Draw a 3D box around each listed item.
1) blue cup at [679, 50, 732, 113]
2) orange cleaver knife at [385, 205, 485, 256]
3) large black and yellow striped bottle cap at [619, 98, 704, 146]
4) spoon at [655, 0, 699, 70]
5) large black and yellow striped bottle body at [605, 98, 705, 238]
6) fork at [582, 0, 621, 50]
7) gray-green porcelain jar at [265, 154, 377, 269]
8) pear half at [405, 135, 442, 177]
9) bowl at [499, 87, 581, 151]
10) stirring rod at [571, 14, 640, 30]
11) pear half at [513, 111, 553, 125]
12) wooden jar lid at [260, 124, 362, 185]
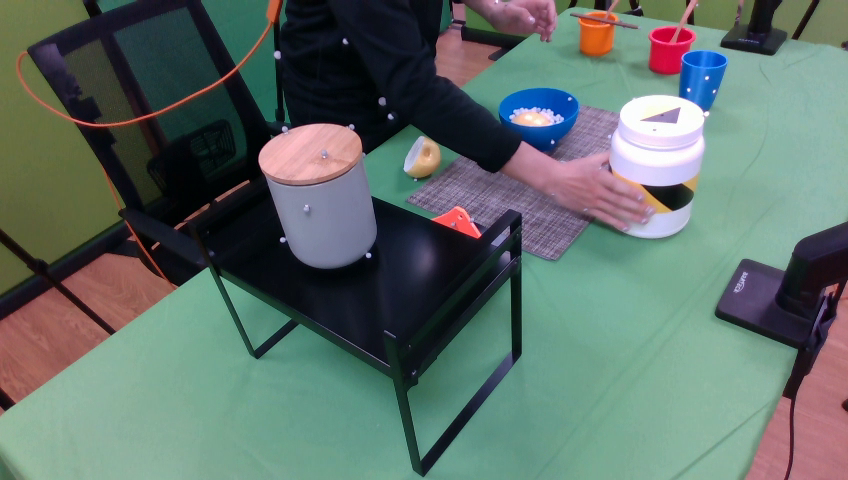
[{"bbox_3d":[0.546,-0.309,1.194,0.092,0.100,0.092,-4,39,4],"label":"blue cup"},{"bbox_3d":[0.012,-0.010,0.942,0.012,0.077,0.210,-36,19,-35],"label":"orange cleaver knife"},{"bbox_3d":[0.341,-0.172,0.873,0.115,0.019,0.114,-4,39,4],"label":"large black and yellow striped bottle cap"},{"bbox_3d":[0.567,-0.463,1.337,0.041,0.022,0.193,30,97,38],"label":"spoon"},{"bbox_3d":[0.352,-0.110,0.927,0.131,0.185,0.130,-5,41,4],"label":"large black and yellow striped bottle body"},{"bbox_3d":[0.446,-0.539,1.438,0.207,0.019,0.028,-57,36,12],"label":"fork"},{"bbox_3d":[-0.112,-0.039,0.686,0.106,0.127,0.105,-4,40,4],"label":"gray-green porcelain jar"},{"bbox_3d":[-0.004,-0.151,1.136,0.076,0.056,0.109,-62,23,-8],"label":"pear half"},{"bbox_3d":[0.220,-0.223,1.156,0.151,0.077,0.150,-4,40,4],"label":"bowl"},{"bbox_3d":[0.419,-0.508,1.404,0.174,0.006,0.014,28,55,35],"label":"stirring rod"},{"bbox_3d":[0.212,-0.227,1.152,0.088,0.031,0.070,7,44,11],"label":"pear half"},{"bbox_3d":[-0.119,-0.088,0.645,0.108,0.021,0.108,-4,40,4],"label":"wooden jar lid"}]
